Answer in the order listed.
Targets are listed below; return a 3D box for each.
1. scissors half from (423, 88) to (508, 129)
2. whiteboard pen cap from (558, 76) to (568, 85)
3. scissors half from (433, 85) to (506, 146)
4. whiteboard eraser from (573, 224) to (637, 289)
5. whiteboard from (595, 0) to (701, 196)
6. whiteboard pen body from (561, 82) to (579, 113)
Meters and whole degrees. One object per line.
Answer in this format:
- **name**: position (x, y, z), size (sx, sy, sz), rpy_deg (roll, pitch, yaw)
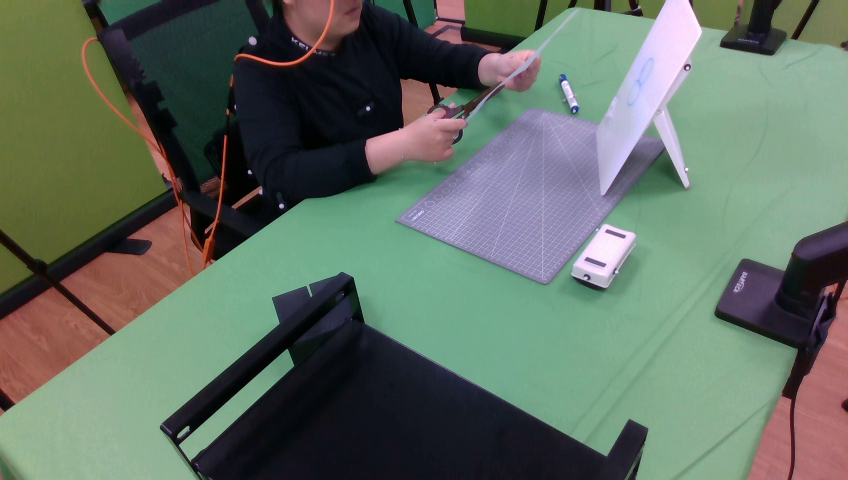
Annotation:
- **scissors half**: position (0.072, -0.241, 1.086), size (0.174, 0.040, 0.013), rpy_deg (-13, 15, 30)
- **whiteboard pen cap**: position (0.310, -0.350, 1.341), size (0.018, 0.018, 0.033), rpy_deg (-6, 41, 2)
- **scissors half**: position (0.082, -0.223, 1.089), size (0.174, 0.040, 0.013), rpy_deg (-38, 7, 34)
- **whiteboard eraser**: position (0.267, 0.025, 0.891), size (0.055, 0.042, 0.113), rpy_deg (19, 47, 31)
- **whiteboard**: position (0.421, -0.227, 1.010), size (0.144, 0.305, 0.216), rpy_deg (18, 42, -2)
- **whiteboard pen body**: position (0.310, -0.312, 1.297), size (0.017, 0.017, 0.140), rpy_deg (-6, 42, 2)
